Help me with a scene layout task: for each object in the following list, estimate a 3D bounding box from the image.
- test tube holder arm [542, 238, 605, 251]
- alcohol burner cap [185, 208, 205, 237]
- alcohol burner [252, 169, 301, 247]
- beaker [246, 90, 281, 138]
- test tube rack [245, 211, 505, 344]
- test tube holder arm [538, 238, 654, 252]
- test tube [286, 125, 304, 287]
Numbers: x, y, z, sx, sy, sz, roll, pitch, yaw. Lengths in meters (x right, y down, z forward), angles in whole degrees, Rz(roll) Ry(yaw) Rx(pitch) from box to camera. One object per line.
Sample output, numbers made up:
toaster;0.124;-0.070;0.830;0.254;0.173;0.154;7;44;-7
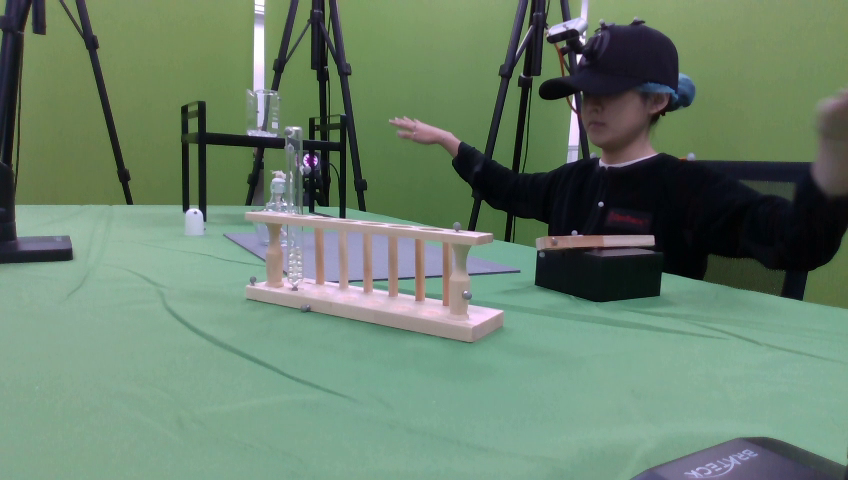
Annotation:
test tube holder arm;0.166;0.005;0.666;0.088;0.015;0.010;0;-1;-32
alcohol burner cap;-0.391;-0.031;1.032;0.034;0.048;0.034;3;8;0
alcohol burner;-0.227;-0.050;0.936;0.078;0.119;0.078;1;7;0
beaker;-0.354;-0.275;1.322;0.074;0.100;0.084;4;8;12
test tube rack;-0.049;0.025;0.547;0.241;0.085;0.067;7;8;29
test tube holder arm;0.202;0.006;0.695;0.179;0.015;0.013;0;-1;-32
test tube;-0.119;-0.030;0.558;0.017;0.150;0.017;2;12;0
